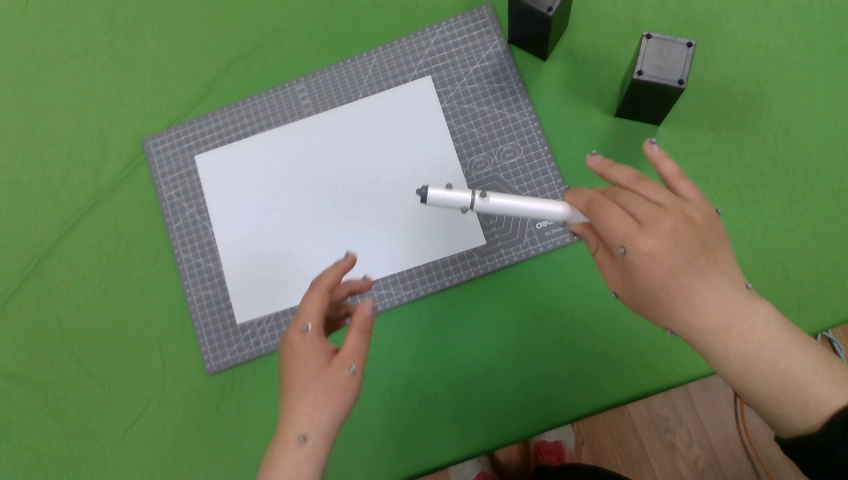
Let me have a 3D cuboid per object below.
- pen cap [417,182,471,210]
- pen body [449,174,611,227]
[{"bbox_3d":[0.014,-0.032,0.434,0.038,0.017,0.017,7,83,-4],"label":"pen cap"},{"bbox_3d":[0.080,-0.030,0.438,0.145,0.017,0.017,11,81,-28],"label":"pen body"}]
